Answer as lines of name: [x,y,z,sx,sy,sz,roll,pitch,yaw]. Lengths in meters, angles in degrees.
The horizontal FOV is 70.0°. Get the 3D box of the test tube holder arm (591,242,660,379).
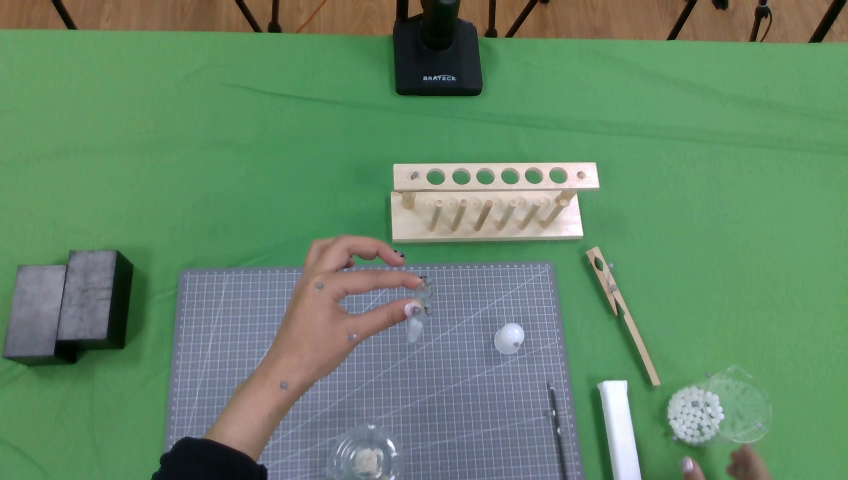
test tube holder arm: [0.244,0.084,0.739,0.013,0.015,0.177,-29,72,20]

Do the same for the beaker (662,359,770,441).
beaker: [0.315,0.180,0.669,0.074,0.101,0.083,12,68,-1]

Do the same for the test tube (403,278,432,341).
test tube: [-0.008,0.067,0.549,0.017,0.151,0.017,2,66,-4]

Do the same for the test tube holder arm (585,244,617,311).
test tube holder arm: [0.223,0.047,0.753,0.010,0.015,0.087,-28,73,20]

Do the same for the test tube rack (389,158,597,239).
test tube rack: [0.081,-0.050,0.738,0.243,0.085,0.066,-1,69,-6]

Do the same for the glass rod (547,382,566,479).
glass rod: [0.151,0.257,0.668,0.008,0.008,0.198,-1,70,-7]

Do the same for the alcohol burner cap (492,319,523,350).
alcohol burner cap: [0.099,0.107,0.701,0.034,0.048,0.033,2,69,-5]

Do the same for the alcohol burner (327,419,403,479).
alcohol burner: [-0.059,0.217,0.604,0.078,0.120,0.077,2,67,-4]

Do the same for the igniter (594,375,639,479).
igniter: [0.221,0.287,0.657,0.057,0.025,0.274,3,69,-15]
